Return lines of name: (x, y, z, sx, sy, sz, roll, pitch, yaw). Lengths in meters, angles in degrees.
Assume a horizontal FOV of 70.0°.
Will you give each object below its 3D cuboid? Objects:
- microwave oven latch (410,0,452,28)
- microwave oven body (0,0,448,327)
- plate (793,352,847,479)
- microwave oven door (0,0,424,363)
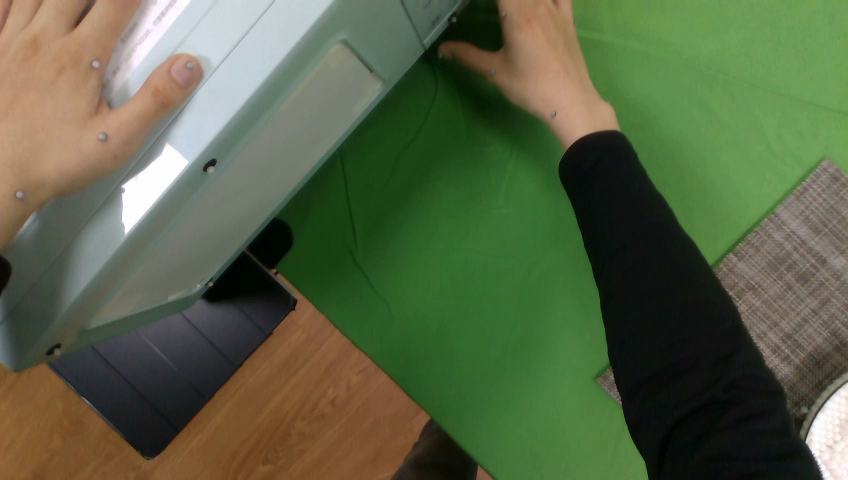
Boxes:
microwave oven latch: (0.019, -0.232, 0.549, 0.079, 0.029, 0.030, -42, 91, 10)
microwave oven body: (-0.220, -0.197, 0.481, 0.326, 0.260, 0.442, 44, 100, -1)
plate: (0.453, 0.185, 0.567, 0.209, 0.038, 0.209, 1, 97, 6)
microwave oven door: (-0.145, -0.065, 0.484, 0.039, 0.243, 0.356, 44, 99, 1)
